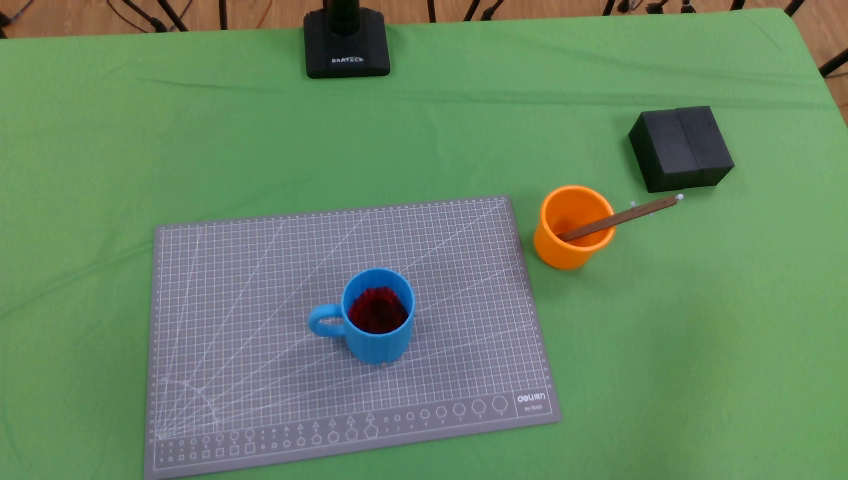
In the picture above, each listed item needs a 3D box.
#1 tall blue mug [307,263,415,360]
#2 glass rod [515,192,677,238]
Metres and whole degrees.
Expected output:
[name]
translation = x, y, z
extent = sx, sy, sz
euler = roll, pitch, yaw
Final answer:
[tall blue mug]
translation = -0.064, 0.088, 0.660
extent = 0.107, 0.108, 0.077
euler = -28, 70, -17
[glass rod]
translation = 0.200, -0.028, 0.727
extent = 0.199, 0.008, 0.008
euler = -16, 59, 30
